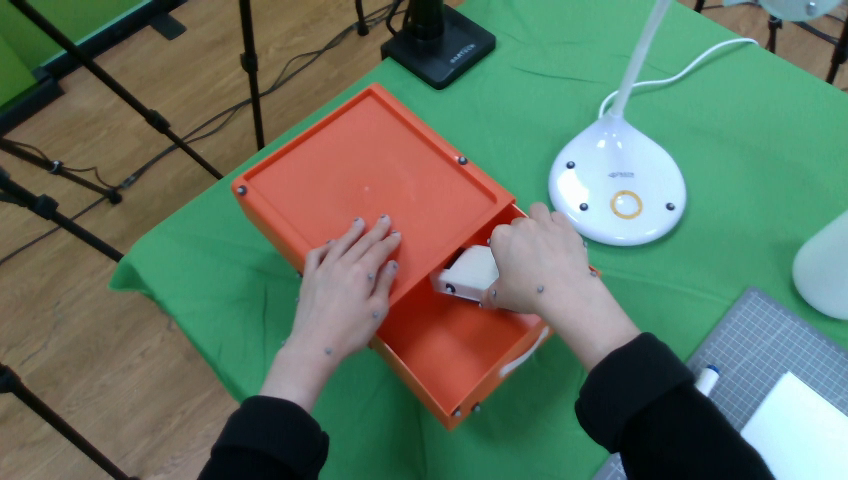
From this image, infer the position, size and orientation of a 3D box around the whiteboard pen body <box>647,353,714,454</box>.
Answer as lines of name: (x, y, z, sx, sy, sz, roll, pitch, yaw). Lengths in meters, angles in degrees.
whiteboard pen body: (0.245, 0.169, 0.589, 0.017, 0.017, 0.140, 33, 70, 19)

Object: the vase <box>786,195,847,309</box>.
vase: (0.438, -0.010, 0.584, 0.098, 0.201, 0.097, -1, 60, 2)

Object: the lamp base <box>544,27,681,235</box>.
lamp base: (0.219, -0.124, 0.663, 0.161, 0.182, 0.177, -11, 59, -4)

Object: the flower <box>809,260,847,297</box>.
flower: (0.452, -0.058, 0.515, 0.038, 0.364, 0.044, 28, 48, 9)

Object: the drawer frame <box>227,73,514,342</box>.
drawer frame: (-0.054, -0.039, 0.630, 0.201, 0.083, 0.212, -41, 71, -18)

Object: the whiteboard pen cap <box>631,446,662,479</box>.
whiteboard pen cap: (0.210, 0.211, 0.569, 0.018, 0.018, 0.033, 33, 69, 19)

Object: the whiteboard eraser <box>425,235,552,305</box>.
whiteboard eraser: (0.060, 0.028, 0.569, 0.112, 0.042, 0.055, 11, 47, 40)

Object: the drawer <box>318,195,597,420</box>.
drawer: (0.023, 0.031, 0.593, 0.194, 0.074, 0.210, -40, 66, -17)
